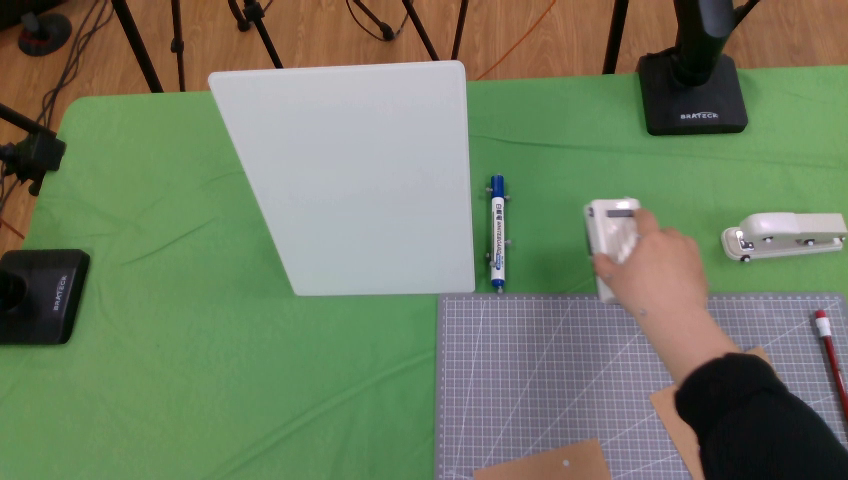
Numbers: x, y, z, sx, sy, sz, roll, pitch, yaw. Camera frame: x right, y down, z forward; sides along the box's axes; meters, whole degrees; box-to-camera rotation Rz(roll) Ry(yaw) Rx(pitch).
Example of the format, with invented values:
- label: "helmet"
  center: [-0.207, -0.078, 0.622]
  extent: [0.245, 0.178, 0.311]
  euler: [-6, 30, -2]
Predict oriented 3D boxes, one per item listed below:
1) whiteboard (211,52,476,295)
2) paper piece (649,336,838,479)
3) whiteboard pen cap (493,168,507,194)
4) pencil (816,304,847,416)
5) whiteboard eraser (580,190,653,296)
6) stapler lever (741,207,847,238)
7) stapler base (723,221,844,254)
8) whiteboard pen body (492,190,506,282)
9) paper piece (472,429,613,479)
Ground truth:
- label: "whiteboard"
  center: [-0.054, -0.091, 0.649]
  extent: [0.217, 0.308, 0.142]
  euler: [-1, 48, 6]
- label: "paper piece"
  center: [0.324, 0.187, 0.621]
  extent: [0.136, 0.009, 0.137]
  euler: [-23, 69, 0]
- label: "whiteboard pen cap"
  center: [0.094, -0.072, 0.749]
  extent: [0.018, 0.018, 0.033]
  euler: [-2, 65, 5]
- label: "pencil"
  center: [0.432, 0.159, 0.620]
  extent: [0.012, 0.012, 0.192]
  euler: [-4, 69, 4]
- label: "whiteboard eraser"
  center: [0.202, 0.004, 0.644]
  extent: [0.056, 0.042, 0.112]
  euler: [-4, 73, -7]
- label: "stapler lever"
  center: [0.412, -0.021, 0.668]
  extent: [0.118, 0.040, 0.026]
  euler: [-6, 69, 2]
- label: "stapler base"
  center: [0.412, -0.011, 0.690]
  extent: [0.130, 0.024, 0.041]
  euler: [-5, 69, 1]
- label: "whiteboard pen body"
  center: [0.090, -0.017, 0.727]
  extent: [0.017, 0.017, 0.139]
  euler: [1, 66, 6]
- label: "paper piece"
  center: [0.130, 0.272, 0.603]
  extent: [0.135, 0.004, 0.134]
  euler: [-14, 67, -1]
